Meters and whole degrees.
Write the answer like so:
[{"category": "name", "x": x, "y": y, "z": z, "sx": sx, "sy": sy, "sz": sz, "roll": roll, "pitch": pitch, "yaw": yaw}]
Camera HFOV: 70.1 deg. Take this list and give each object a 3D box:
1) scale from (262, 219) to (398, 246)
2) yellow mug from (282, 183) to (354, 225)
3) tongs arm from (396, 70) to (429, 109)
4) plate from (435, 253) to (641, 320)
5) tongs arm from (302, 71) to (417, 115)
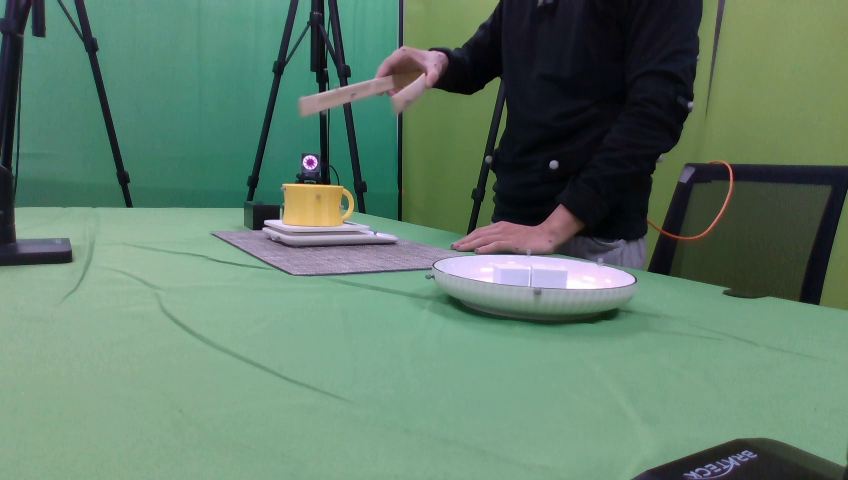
[{"category": "scale", "x": -0.160, "y": -0.016, "z": 1.028, "sx": 0.202, "sy": 0.031, "sz": 0.148, "roll": -2, "pitch": 9, "yaw": -32}, {"category": "yellow mug", "x": -0.172, "y": -0.061, "z": 1.009, "sx": 0.131, "sy": 0.064, "sz": 0.099, "roll": -2, "pitch": 8, "yaw": -41}, {"category": "tongs arm", "x": -0.018, "y": -0.247, "z": 0.971, "sx": 0.028, "sy": 0.028, "sz": 0.387, "roll": -8, "pitch": 18, "yaw": 8}, {"category": "plate", "x": 0.114, "y": 0.047, "z": 0.626, "sx": 0.208, "sy": 0.039, "sz": 0.207, "roll": 2, "pitch": 7, "yaw": 0}, {"category": "tongs arm", "x": -0.089, "y": -0.246, "z": 0.987, "sx": 0.050, "sy": 0.026, "sz": 0.385, "roll": -1, "pitch": 19, "yaw": 17}]
